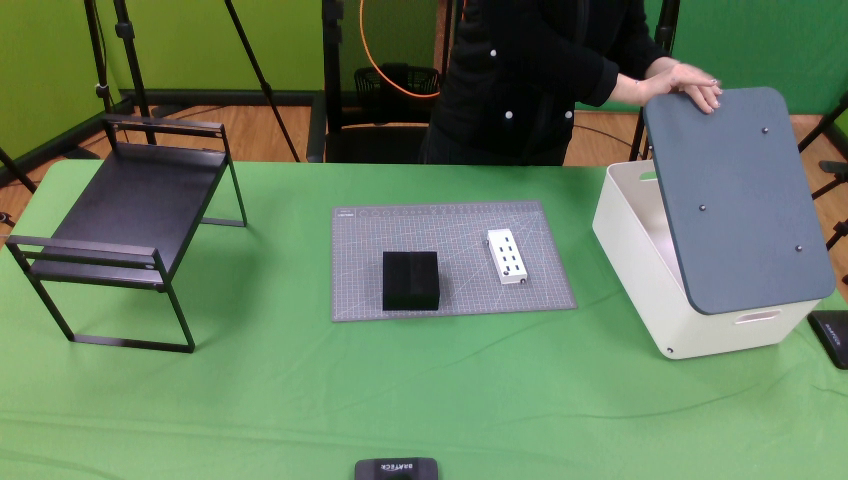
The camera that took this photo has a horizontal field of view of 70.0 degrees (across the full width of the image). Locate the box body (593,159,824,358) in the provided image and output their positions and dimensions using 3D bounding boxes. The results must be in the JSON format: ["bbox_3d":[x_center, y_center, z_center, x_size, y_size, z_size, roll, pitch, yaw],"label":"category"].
[{"bbox_3d":[0.497,0.023,1.112,0.254,0.161,0.361,-7,47,-10],"label":"box body"}]

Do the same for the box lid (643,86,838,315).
[{"bbox_3d":[0.508,-0.076,0.979,0.264,0.015,0.370,-7,78,-10],"label":"box lid"}]

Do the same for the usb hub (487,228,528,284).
[{"bbox_3d":[0.159,0.030,1.173,0.049,0.025,0.124,-5,46,-9],"label":"usb hub"}]
